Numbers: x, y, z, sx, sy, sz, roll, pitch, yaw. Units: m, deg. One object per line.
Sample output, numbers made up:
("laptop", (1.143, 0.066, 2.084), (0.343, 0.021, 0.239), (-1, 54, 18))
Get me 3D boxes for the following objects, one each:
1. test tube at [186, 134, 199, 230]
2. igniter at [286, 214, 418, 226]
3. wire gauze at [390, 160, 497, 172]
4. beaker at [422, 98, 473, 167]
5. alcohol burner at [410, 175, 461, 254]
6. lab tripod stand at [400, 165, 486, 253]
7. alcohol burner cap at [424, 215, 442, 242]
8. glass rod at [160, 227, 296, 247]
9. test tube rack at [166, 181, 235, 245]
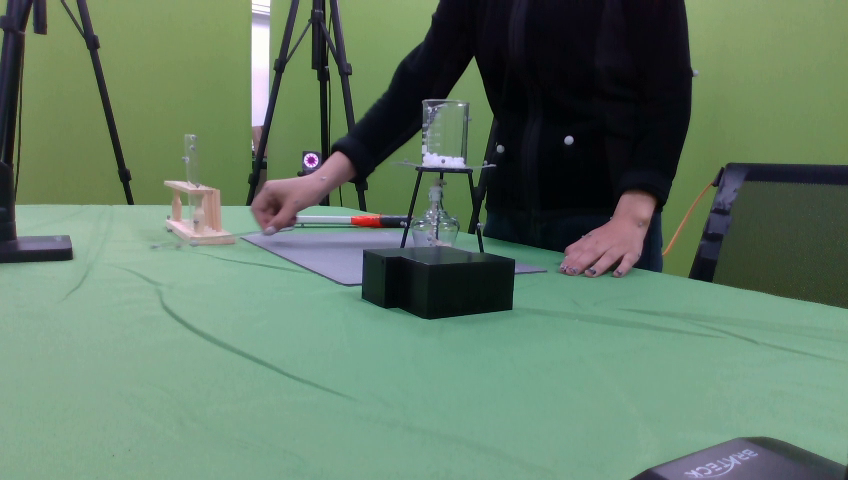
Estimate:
("test tube", (-0.360, -0.089, 0.946), (0.017, 0.150, 0.017), (0, 10, 0))
("igniter", (-0.146, -0.043, 1.262), (0.278, 0.025, 0.057), (-1, -2, -25))
("wire gauze", (0.027, -0.114, 0.920), (0.122, 0.011, 0.124), (-5, 13, -34))
("beaker", (0.031, -0.162, 0.919), (0.074, 0.100, 0.083), (-4, 9, -36))
("alcohol burner", (0.018, -0.040, 0.931), (0.078, 0.119, 0.078), (0, 6, 0))
("lab tripod stand", (0.027, -0.049, 0.930), (0.148, 0.131, 0.148), (2, 9, 0))
("alcohol burner cap", (0.017, -0.022, 1.098), (0.034, 0.048, 0.034), (2, 9, 0))
("glass rod", (-0.286, -0.004, 0.903), (0.201, 0.008, 0.008), (-9, 12, -32))
("test tube rack", (-0.383, -0.051, 1.024), (0.067, 0.085, 0.241), (-2, 9, -31))
